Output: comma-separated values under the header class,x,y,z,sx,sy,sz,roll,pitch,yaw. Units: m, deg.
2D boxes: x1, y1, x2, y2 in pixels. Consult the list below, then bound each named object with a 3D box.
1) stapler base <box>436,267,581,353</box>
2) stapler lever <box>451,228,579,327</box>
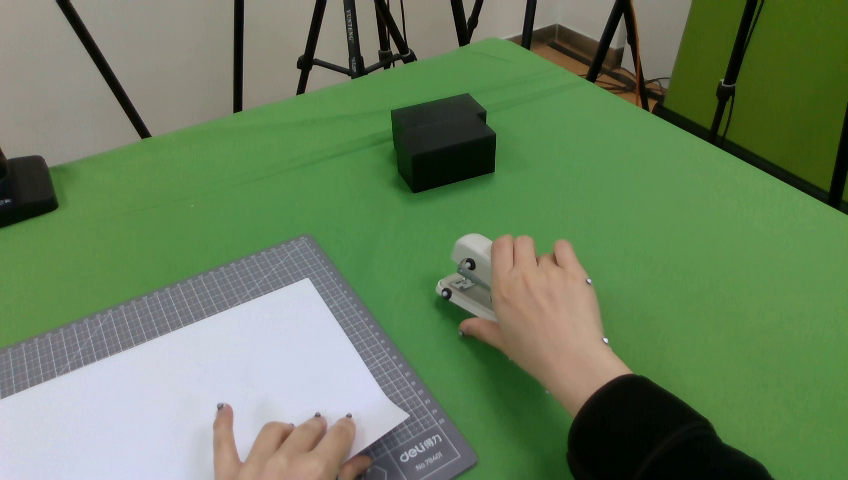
class,x,y,z,sx,sy,sz,roll,pitch,yaw
stapler base,0.068,0.048,0.503,0.129,0.024,0.041,29,36,34
stapler lever,0.072,0.027,0.491,0.117,0.040,0.027,28,36,35
